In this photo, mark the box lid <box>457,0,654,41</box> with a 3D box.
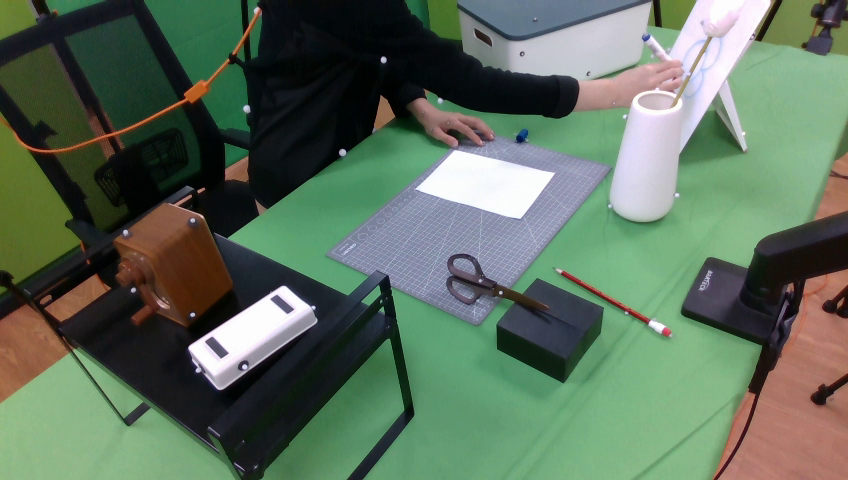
[{"bbox_3d":[0.285,-0.522,1.323,0.373,0.015,0.261,-21,43,-16],"label":"box lid"}]

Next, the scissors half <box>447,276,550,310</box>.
[{"bbox_3d":[0.098,0.077,0.827,0.174,0.040,0.013,6,14,44],"label":"scissors half"}]

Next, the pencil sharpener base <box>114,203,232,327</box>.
[{"bbox_3d":[-0.261,0.029,0.636,0.061,0.107,0.077,18,47,27],"label":"pencil sharpener base"}]

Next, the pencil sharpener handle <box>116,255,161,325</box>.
[{"bbox_3d":[-0.286,0.050,0.594,0.035,0.068,0.031,7,41,36],"label":"pencil sharpener handle"}]

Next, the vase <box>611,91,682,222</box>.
[{"bbox_3d":[0.348,-0.125,0.935,0.098,0.201,0.097,-3,40,3],"label":"vase"}]

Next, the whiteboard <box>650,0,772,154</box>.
[{"bbox_3d":[0.543,-0.298,1.076,0.144,0.305,0.216,12,40,-7],"label":"whiteboard"}]

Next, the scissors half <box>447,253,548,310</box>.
[{"bbox_3d":[0.098,0.058,0.821,0.173,0.040,0.013,27,33,36],"label":"scissors half"}]

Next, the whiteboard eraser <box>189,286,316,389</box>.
[{"bbox_3d":[-0.166,0.096,0.593,0.113,0.042,0.055,-36,47,-29],"label":"whiteboard eraser"}]

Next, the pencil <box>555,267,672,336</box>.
[{"bbox_3d":[0.261,0.082,0.851,0.012,0.012,0.192,-33,45,-27],"label":"pencil"}]

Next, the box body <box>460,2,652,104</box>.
[{"bbox_3d":[0.291,-0.465,1.371,0.365,0.161,0.252,-22,42,-16],"label":"box body"}]

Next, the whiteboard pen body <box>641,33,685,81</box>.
[{"bbox_3d":[0.418,-0.312,1.044,0.017,0.142,0.017,-32,43,36],"label":"whiteboard pen body"}]

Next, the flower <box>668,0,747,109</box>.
[{"bbox_3d":[0.355,-0.187,0.879,0.038,0.362,0.044,30,48,14],"label":"flower"}]

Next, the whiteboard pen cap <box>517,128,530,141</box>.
[{"bbox_3d":[0.195,-0.207,1.192,0.018,0.018,0.033,14,40,23],"label":"whiteboard pen cap"}]
